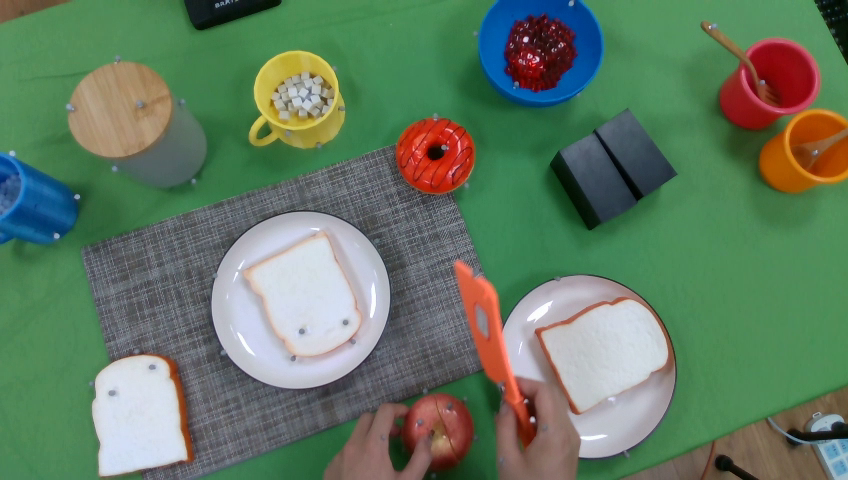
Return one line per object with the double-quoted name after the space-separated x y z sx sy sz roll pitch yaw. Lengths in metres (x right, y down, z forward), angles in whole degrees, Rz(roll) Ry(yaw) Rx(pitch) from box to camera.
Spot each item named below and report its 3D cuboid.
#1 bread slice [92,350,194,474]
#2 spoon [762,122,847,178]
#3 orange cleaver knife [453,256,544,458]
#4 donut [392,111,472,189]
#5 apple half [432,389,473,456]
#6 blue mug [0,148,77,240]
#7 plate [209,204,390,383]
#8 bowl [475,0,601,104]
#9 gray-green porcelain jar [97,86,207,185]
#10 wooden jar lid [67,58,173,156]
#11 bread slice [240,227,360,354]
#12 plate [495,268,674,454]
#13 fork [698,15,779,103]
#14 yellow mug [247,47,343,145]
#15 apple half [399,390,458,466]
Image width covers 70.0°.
-0.328 0.193 0.694 0.105 0.019 0.131 -12 81 -4 "bread slice"
0.495 -0.132 0.708 0.022 0.194 0.041 -15 74 -50 "spoon"
0.071 0.114 0.586 0.012 0.076 0.212 -25 108 -20 "orange cleaver knife"
0.011 -0.110 0.743 0.099 0.048 0.098 0 81 -1 "donut"
0.036 0.197 0.676 0.033 0.081 0.081 -22 80 -1 "apple half"
-0.479 -0.038 0.691 0.082 0.106 0.116 44 82 7 "blue mug"
-0.143 0.062 0.711 0.208 0.039 0.207 0 80 -1 "plate"
0.135 -0.230 0.754 0.151 0.077 0.151 0 80 -1 "bowl"
-0.319 -0.126 0.700 0.106 0.127 0.105 0 79 -1 "gray-green porcelain jar"
-0.318 -0.138 0.639 0.108 0.021 0.108 0 78 0 "wooden jar lid"
-0.136 0.064 0.712 0.107 0.018 0.134 -31 81 -6 "bread slice"
0.183 0.139 0.708 0.209 0.038 0.208 0 80 -1 "plate"
0.378 -0.213 0.721 0.209 0.018 0.028 21 75 -40 "fork"
-0.164 -0.165 0.742 0.131 0.064 0.099 -43 83 -7 "yellow mug"
0.000 0.212 0.674 0.053 0.075 0.080 -22 84 0 "apple half"
